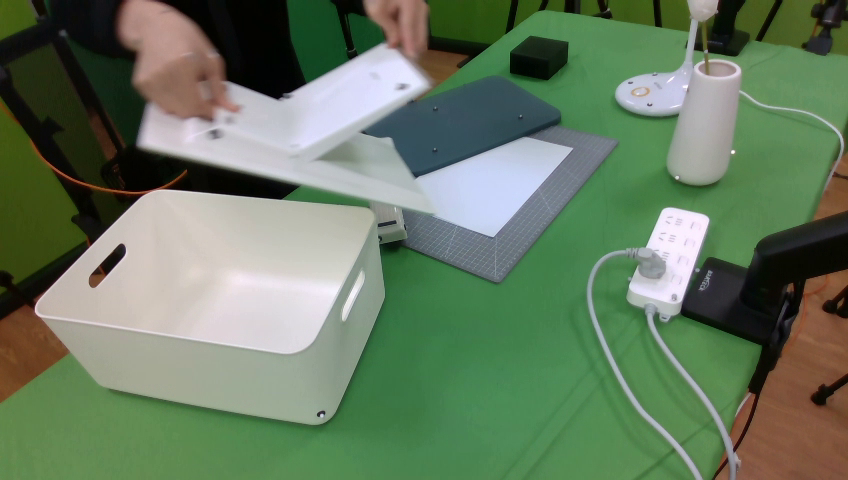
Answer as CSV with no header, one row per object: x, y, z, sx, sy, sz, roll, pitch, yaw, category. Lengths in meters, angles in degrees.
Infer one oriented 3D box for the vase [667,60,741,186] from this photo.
0.463,-0.189,0.994,0.098,0.201,0.097,-4,40,3,vase

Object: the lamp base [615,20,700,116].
0.484,-0.364,1.211,0.180,0.181,0.159,-15,41,-14,lamp base

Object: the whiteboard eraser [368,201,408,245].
-0.061,-0.035,1.005,0.056,0.042,0.112,-9,40,-4,whiteboard eraser

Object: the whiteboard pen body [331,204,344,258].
-0.147,-0.016,1.020,0.017,0.017,0.140,-6,40,1,whiteboard pen body

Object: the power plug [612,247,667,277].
0.306,0.031,0.852,0.072,0.053,0.035,21,48,38,power plug

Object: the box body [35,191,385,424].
-0.254,0.081,0.807,0.363,0.161,0.253,5,42,14,box body

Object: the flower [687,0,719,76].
0.436,-0.242,0.934,0.038,0.364,0.043,-24,49,8,flower

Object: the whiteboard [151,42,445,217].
-0.119,-0.165,0.669,0.308,0.144,0.215,12,27,-27,whiteboard

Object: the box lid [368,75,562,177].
0.074,-0.249,1.267,0.373,0.015,0.261,-23,42,-18,box lid

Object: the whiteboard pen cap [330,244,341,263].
-0.142,0.022,0.975,0.018,0.018,0.033,-7,38,0,whiteboard pen cap

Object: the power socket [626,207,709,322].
0.360,0.026,0.886,0.072,0.033,0.227,17,46,27,power socket
